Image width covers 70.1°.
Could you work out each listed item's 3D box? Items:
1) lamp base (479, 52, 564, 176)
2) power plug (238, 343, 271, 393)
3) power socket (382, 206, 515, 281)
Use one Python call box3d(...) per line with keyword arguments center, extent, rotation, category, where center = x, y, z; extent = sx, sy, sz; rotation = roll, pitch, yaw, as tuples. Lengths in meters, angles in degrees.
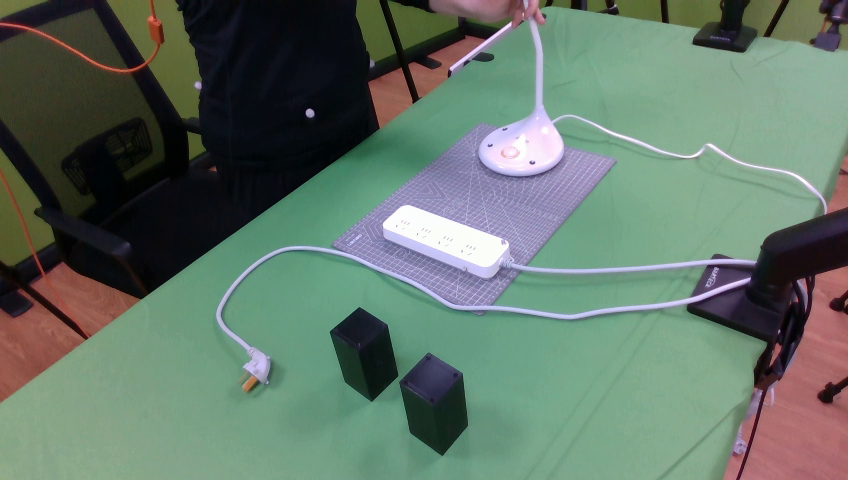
box3d(center=(0.181, -0.235, 1.093), extent=(0.159, 0.181, 0.179), rotation=(18, 44, 27), category="lamp base")
box3d(center=(-0.230, 0.172, 0.801), extent=(0.072, 0.035, 0.053), rotation=(8, 51, 50), category="power plug")
box3d(center=(0.032, 0.002, 0.950), extent=(0.225, 0.033, 0.072), rotation=(21, 49, 29), category="power socket")
